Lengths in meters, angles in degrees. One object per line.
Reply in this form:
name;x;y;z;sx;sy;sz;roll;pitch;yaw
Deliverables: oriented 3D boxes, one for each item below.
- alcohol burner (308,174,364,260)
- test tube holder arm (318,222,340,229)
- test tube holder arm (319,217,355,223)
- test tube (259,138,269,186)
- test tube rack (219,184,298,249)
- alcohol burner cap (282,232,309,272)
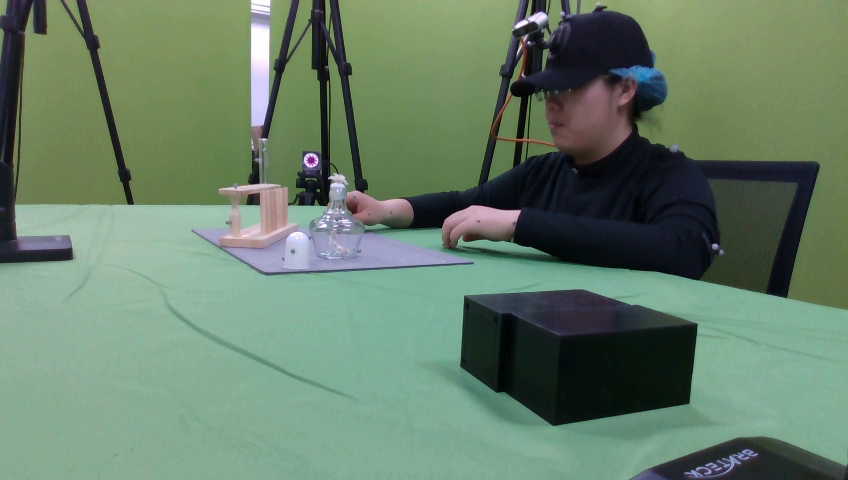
alcohol burner;-0.121;-0.033;0.841;0.078;0.119;0.078;3;5;0
test tube holder arm;-0.170;-0.028;1.092;0.015;0.010;0.088;17;7;9
test tube holder arm;-0.160;-0.037;1.136;0.015;0.013;0.178;17;6;9
test tube;-0.281;-0.104;1.064;0.017;0.150;0.017;2;12;0
test tube rack;-0.266;-0.046;1.001;0.067;0.085;0.242;3;7;0
alcohol burner cap;-0.157;0.014;0.740;0.034;0.048;0.034;2;6;0
